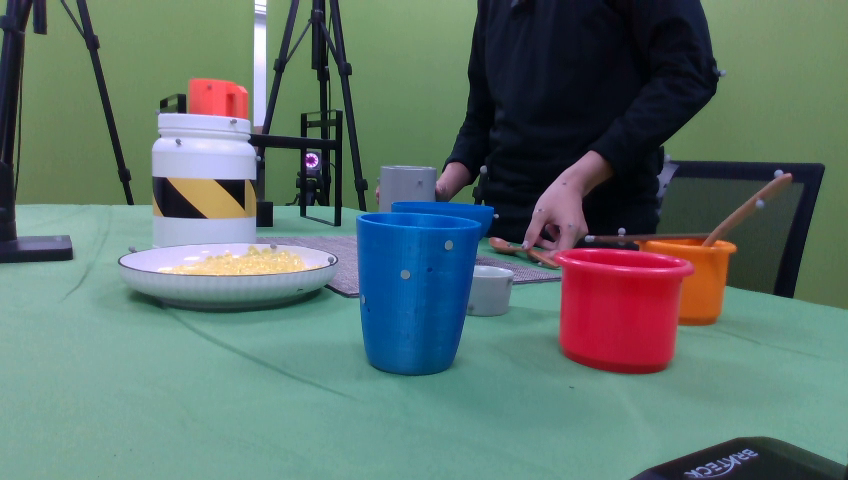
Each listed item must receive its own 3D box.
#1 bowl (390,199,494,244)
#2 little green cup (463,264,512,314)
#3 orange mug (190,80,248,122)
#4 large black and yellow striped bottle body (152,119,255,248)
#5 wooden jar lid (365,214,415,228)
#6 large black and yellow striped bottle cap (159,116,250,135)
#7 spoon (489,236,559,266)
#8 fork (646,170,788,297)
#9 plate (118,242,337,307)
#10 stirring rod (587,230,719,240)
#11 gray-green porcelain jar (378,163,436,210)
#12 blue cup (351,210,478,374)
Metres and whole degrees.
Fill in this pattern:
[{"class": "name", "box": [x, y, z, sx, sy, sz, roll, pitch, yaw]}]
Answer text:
[{"class": "bowl", "box": [0.024, -0.015, 0.871, 0.151, 0.077, 0.151, 3, 7, 0]}, {"class": "little green cup", "box": [0.053, 0.047, 0.579, 0.061, 0.038, 0.061, 3, 8, 0]}, {"class": "orange mug", "box": [-0.394, -0.257, 1.173, 0.126, 0.100, 0.084, 1, 6, 25]}, {"class": "large black and yellow striped bottle body", "box": [-0.296, -0.070, 0.819, 0.131, 0.184, 0.130, 2, 7, 0]}, {"class": "wooden jar lid", "box": [-0.072, -0.041, 1.292, 0.108, 0.020, 0.108, 4, 8, 0]}, {"class": "large black and yellow striped bottle cap", "box": [-0.292, -0.153, 0.810, 0.115, 0.019, 0.115, 3, 9, 0]}, {"class": "spoon", "box": [0.150, 0.015, 0.923, 0.042, 0.021, 0.193, 6, 4, -19]}, {"class": "fork", "box": [0.256, 0.004, 0.543, 0.028, 0.018, 0.207, 3, -36, -9]}, {"class": "plate", "box": [-0.194, 0.033, 0.615, 0.209, 0.038, 0.209, 2, 7, 0]}, {"class": "stirring rod", "box": [0.226, -0.005, 0.587, 0.177, 0.006, 0.014, -2, 10, -29]}, {"class": "gray-green porcelain jar", "box": [-0.032, -0.076, 1.118, 0.106, 0.126, 0.106, 2, 12, 0]}, {"class": "blue cup", "box": [-0.009, 0.034, 0.413, 0.093, 0.100, 0.092, 3, 8, 0]}]
